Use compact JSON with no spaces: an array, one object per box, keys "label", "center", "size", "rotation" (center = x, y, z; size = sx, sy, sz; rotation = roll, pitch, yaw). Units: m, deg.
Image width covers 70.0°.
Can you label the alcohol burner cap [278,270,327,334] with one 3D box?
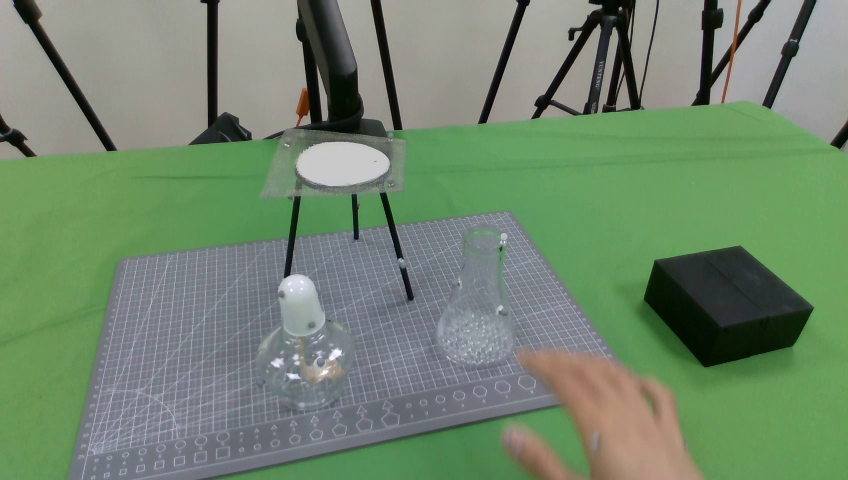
[{"label":"alcohol burner cap","center":[-0.093,0.045,0.458],"size":[0.034,0.048,0.033],"rotation":[-3,39,3]}]

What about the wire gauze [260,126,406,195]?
[{"label":"wire gauze","center":[-0.078,-0.075,0.558],"size":[0.121,0.011,0.124],"rotation":[2,36,-2]}]

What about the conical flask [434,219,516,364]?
[{"label":"conical flask","center":[0.048,0.042,0.524],"size":[0.075,0.123,0.074],"rotation":[1,36,-1]}]

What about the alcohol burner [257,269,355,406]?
[{"label":"alcohol burner","center":[-0.095,0.073,0.480],"size":[0.078,0.120,0.077],"rotation":[0,34,0]}]

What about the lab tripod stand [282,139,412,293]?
[{"label":"lab tripod stand","center":[-0.073,-0.021,0.598],"size":[0.148,0.132,0.147],"rotation":[3,34,-2]}]
